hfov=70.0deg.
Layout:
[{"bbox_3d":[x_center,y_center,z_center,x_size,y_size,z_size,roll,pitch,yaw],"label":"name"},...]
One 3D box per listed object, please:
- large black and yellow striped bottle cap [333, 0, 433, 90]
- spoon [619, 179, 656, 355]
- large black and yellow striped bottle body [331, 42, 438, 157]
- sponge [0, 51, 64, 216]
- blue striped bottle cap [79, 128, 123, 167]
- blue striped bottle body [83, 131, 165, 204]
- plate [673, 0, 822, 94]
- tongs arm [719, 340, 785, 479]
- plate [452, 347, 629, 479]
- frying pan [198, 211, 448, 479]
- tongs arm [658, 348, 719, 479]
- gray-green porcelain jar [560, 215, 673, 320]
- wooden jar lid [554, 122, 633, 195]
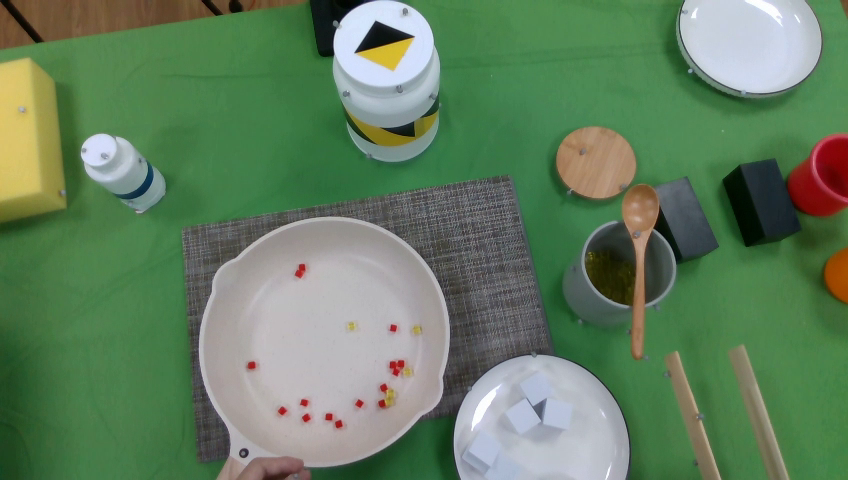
[{"bbox_3d":[-0.047,-0.227,0.695,0.115,0.019,0.114,0,75,0],"label":"large black and yellow striped bottle cap"},{"bbox_3d":[0.233,0.028,0.666,0.041,0.022,0.193,6,77,-2],"label":"spoon"},{"bbox_3d":[-0.048,-0.201,0.775,0.131,0.185,0.130,0,73,0],"label":"large black and yellow striped bottle body"},{"bbox_3d":[-0.570,-0.140,0.817,0.118,0.061,0.205,-14,75,-5],"label":"sponge"},{"bbox_3d":[-0.387,-0.111,0.725,0.044,0.021,0.044,0,75,-1],"label":"blue striped bottle cap"},{"bbox_3d":[-0.386,-0.095,0.774,0.063,0.121,0.062,0,73,0],"label":"blue striped bottle body"},{"bbox_3d":[0.465,-0.302,0.882,0.209,0.038,0.208,0,73,0],"label":"plate"},{"bbox_3d":[0.374,0.295,0.636,0.028,0.028,0.384,6,63,-24],"label":"tongs arm"},{"bbox_3d":[0.136,0.233,0.722,0.208,0.039,0.206,0,75,-1],"label":"plate"},{"bbox_3d":[-0.170,0.192,0.696,0.306,0.103,0.486,30,67,9],"label":"frying pan"},{"bbox_3d":[0.324,0.295,0.615,0.051,0.026,0.381,0,65,-23],"label":"tongs arm"},{"bbox_3d":[0.226,0.039,0.735,0.106,0.127,0.105,0,73,0],"label":"gray-green porcelain jar"},{"bbox_3d":[0.232,-0.111,0.835,0.108,0.021,0.108,0,75,0],"label":"wooden jar lid"}]
